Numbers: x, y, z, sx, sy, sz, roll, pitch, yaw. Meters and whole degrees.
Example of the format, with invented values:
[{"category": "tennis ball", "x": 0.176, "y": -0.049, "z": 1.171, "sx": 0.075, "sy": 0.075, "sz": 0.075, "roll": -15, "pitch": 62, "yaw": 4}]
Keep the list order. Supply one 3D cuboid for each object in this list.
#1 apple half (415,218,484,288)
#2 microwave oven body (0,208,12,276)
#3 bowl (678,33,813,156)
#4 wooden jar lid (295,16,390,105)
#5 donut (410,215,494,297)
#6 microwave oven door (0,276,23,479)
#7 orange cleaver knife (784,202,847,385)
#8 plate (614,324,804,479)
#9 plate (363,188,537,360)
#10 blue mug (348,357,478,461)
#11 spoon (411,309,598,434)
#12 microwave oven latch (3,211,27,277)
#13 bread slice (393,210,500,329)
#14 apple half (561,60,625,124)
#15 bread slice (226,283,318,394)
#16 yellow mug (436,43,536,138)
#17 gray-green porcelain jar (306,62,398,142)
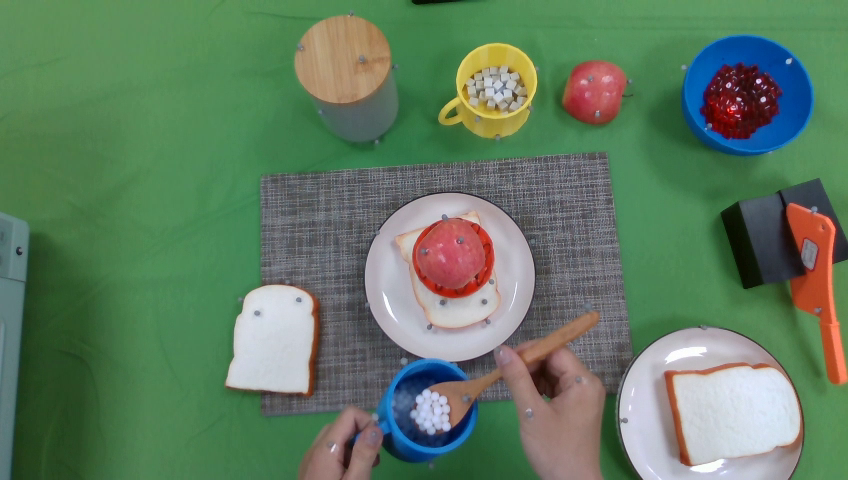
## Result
[{"category": "apple half", "x": 0.029, "y": 0.014, "z": 0.676, "sx": 0.081, "sy": 0.033, "sz": 0.081, "roll": -2, "pitch": 80, "yaw": 9}, {"category": "microwave oven body", "x": -0.658, "y": 0.167, "z": 0.625, "sx": 0.326, "sy": 0.261, "sz": 0.439, "roll": -4, "pitch": 79, "yaw": 2}, {"category": "bowl", "x": 0.380, "y": -0.166, "z": 0.746, "sx": 0.151, "sy": 0.077, "sz": 0.150, "roll": -1, "pitch": 79, "yaw": 3}, {"category": "wooden jar lid", "x": -0.091, "y": -0.201, "z": 0.685, "sx": 0.108, "sy": 0.021, "sz": 0.108, "roll": -1, "pitch": 76, "yaw": 3}, {"category": "donut", "x": 0.033, "y": 0.019, "z": 0.711, "sx": 0.099, "sy": 0.048, "sz": 0.098, "roll": -1, "pitch": 79, "yaw": 3}, {"category": "microwave oven door", "x": -0.511, "y": 0.199, "z": 0.608, "sx": 0.039, "sy": 0.245, "sz": 0.354, "roll": -4, "pitch": 78, "yaw": 2}, {"category": "orange cleaver knife", "x": 0.447, "y": 0.060, "z": 0.695, "sx": 0.012, "sy": 0.077, "sz": 0.212, "roll": -15, "pitch": 100, "yaw": -7}, {"category": "plate", "x": 0.320, "y": 0.201, "z": 0.694, "sx": 0.209, "sy": 0.038, "sz": 0.208, "roll": 0, "pitch": 78, "yaw": 3}, {"category": "plate", "x": 0.030, "y": 0.041, "z": 0.736, "sx": 0.207, "sy": 0.039, "sz": 0.206, "roll": 0, "pitch": 79, "yaw": 3}, {"category": "blue mug", "x": -0.017, "y": 0.168, "z": 0.571, "sx": 0.117, "sy": 0.106, "sz": 0.082, "roll": -19, "pitch": 72, "yaw": -18}, {"category": "spoon", "x": 0.065, "y": 0.113, "z": 0.514, "sx": 0.194, "sy": 0.022, "sz": 0.041, "roll": -37, "pitch": 74, "yaw": 25}, {"category": "microwave oven latch", "x": -0.515, "y": 0.005, "z": 0.750, "sx": 0.030, "sy": 0.029, "sz": 0.079, "roll": 0, "pitch": 79, "yaw": 2}, {"category": "bread slice", "x": 0.035, "y": 0.039, "z": 0.737, "sx": 0.107, "sy": 0.018, "sz": 0.133, "roll": -21, "pitch": 78, "yaw": -1}, {"category": "apple half", "x": 0.217, "y": -0.195, "z": 0.772, "sx": 0.074, "sy": 0.053, "sz": 0.080, "roll": 18, "pitch": 80, "yaw": 9}, {"category": "bread slice", "x": -0.183, "y": 0.118, "z": 0.740, "sx": 0.105, "sy": 0.019, "sz": 0.131, "roll": 4, "pitch": 80, "yaw": 3}, {"category": "yellow mug", "x": 0.075, "y": -0.182, "z": 0.769, "sx": 0.131, "sy": 0.064, "sz": 0.099, "roll": -27, "pitch": 78, "yaw": -3}, {"category": "gray-green porcelain jar", "x": -0.088, "y": -0.187, "z": 0.746, "sx": 0.106, "sy": 0.127, "sz": 0.105, "roll": 0, "pitch": 78, "yaw": 3}]
